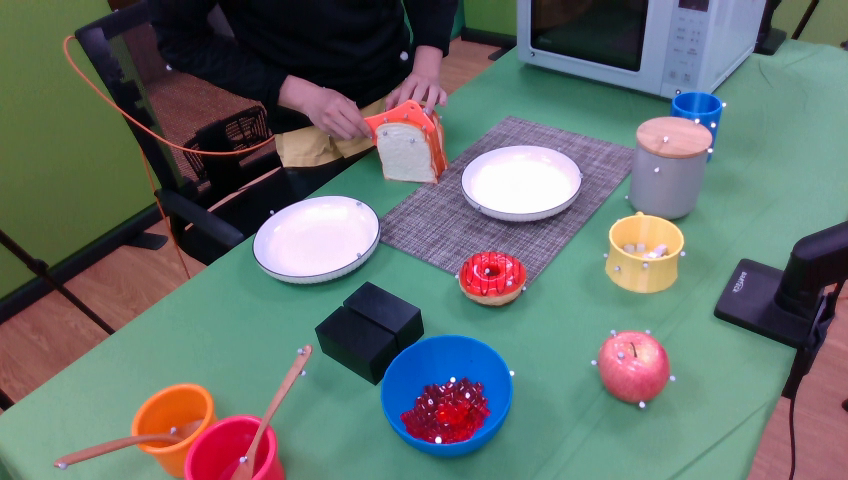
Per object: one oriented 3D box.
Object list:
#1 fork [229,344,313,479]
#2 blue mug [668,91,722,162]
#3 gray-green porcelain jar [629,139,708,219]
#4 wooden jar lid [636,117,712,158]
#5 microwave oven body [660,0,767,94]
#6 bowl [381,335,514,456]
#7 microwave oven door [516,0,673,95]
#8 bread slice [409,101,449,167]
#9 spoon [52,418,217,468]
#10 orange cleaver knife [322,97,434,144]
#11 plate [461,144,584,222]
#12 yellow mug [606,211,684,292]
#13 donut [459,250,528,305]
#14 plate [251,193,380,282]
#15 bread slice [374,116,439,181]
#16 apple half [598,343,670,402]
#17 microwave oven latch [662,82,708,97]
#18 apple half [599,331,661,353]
[{"bbox_3d":[-0.173,0.205,0.662,0.028,0.019,0.207,29,94,36],"label":"fork"},{"bbox_3d":[0.475,-0.207,1.079,0.082,0.106,0.116,4,42,13],"label":"blue mug"},{"bbox_3d":[0.383,-0.105,0.958,0.106,0.127,0.105,-4,41,4],"label":"gray-green porcelain jar"},{"bbox_3d":[0.377,-0.151,0.917,0.108,0.021,0.108,-2,42,3],"label":"wooden jar lid"},{"bbox_3d":[0.473,-0.516,1.313,0.438,0.261,0.327,26,51,34],"label":"microwave oven body"},{"bbox_3d":[0.029,0.192,0.701,0.151,0.077,0.150,-4,40,4],"label":"bowl"},{"bbox_3d":[0.344,-0.458,1.256,0.353,0.245,0.039,26,51,33],"label":"microwave oven door"},{"bbox_3d":[-0.009,-0.195,1.114,0.104,0.132,0.019,8,43,19],"label":"bread slice"},{"bbox_3d":[-0.308,0.220,0.663,0.041,0.195,0.021,21,93,29],"label":"spoon"},{"bbox_3d":[-0.084,-0.202,1.073,0.210,0.077,0.012,-6,40,27],"label":"orange cleaver knife"},{"bbox_3d":[0.168,-0.095,1.040,0.207,0.039,0.206,-4,40,4],"label":"plate"},{"bbox_3d":[0.318,0.008,0.883,0.100,0.064,0.130,0,40,9],"label":"yellow mug"},{"bbox_3d":[0.100,0.053,0.872,0.099,0.048,0.098,-5,40,4],"label":"donut"},{"bbox_3d":[-0.173,-0.001,0.984,0.209,0.038,0.208,-4,40,3],"label":"plate"},{"bbox_3d":[-0.036,-0.161,1.080,0.106,0.135,0.018,1,46,19],"label":"bread slice"},{"bbox_3d":[0.247,0.161,0.710,0.081,0.075,0.053,2,47,5],"label":"apple half"},{"bbox_3d":[0.518,-0.298,1.202,0.078,0.029,0.030,28,53,35],"label":"microwave oven latch"},{"bbox_3d":[0.249,0.134,0.738,0.081,0.081,0.032,-1,46,7],"label":"apple half"}]
